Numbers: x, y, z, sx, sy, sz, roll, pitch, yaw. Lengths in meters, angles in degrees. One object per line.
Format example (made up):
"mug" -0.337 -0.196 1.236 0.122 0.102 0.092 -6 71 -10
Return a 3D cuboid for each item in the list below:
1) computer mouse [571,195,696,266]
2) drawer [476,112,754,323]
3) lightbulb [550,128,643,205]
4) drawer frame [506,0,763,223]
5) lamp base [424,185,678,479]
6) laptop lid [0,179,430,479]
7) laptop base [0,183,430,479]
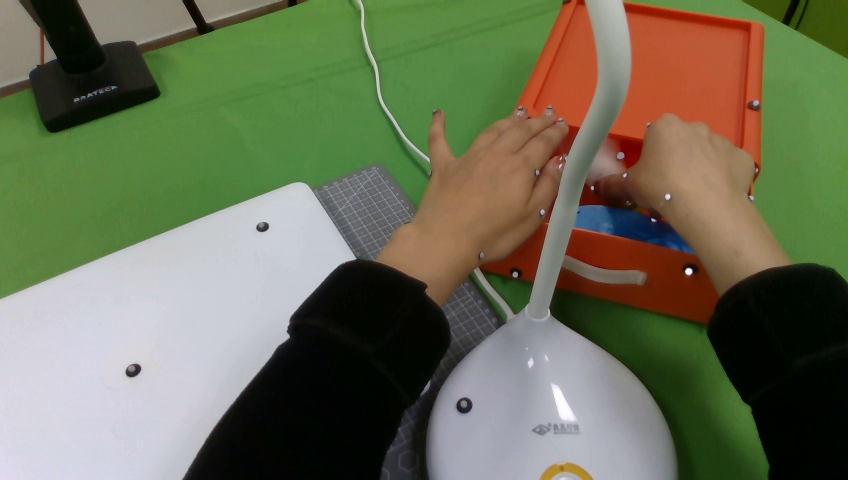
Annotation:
"computer mouse" 0.158 0.000 0.477 0.117 0.041 0.062 14 45 2
"drawer" 0.164 -0.051 0.510 0.194 0.074 0.210 13 51 14
"lightbulb" 0.152 -0.058 0.526 0.059 0.060 0.106 -18 37 -12
"drawer frame" 0.201 -0.135 0.573 0.201 0.083 0.212 14 52 14
"lamp base" 0.076 0.071 0.341 0.161 0.182 0.177 -10 48 -8
"laptop lid" -0.201 0.092 0.427 0.357 0.013 0.239 -24 56 -17
"laptop base" -0.202 0.098 0.437 0.355 0.023 0.233 -25 57 -18
